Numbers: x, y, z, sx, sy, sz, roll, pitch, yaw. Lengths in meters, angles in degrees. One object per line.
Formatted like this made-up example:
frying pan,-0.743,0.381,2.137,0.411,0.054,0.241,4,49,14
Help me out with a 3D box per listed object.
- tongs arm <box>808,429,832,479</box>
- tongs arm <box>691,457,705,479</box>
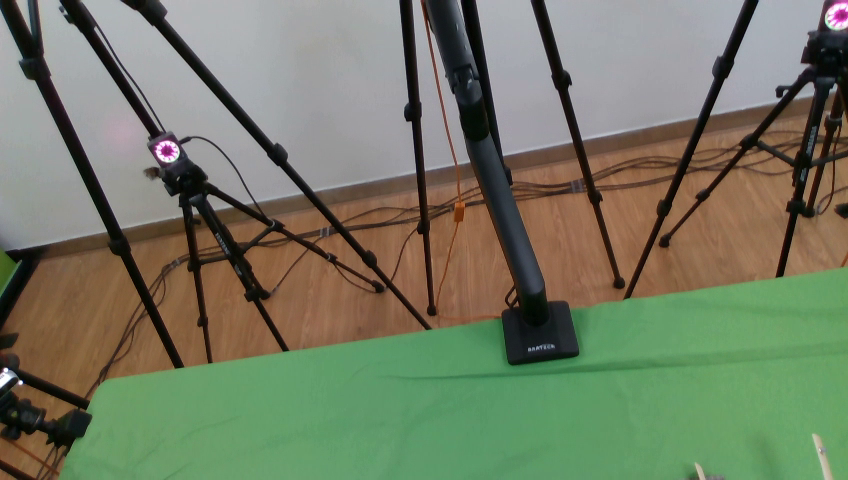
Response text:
tongs arm,0.454,0.397,0.653,0.050,0.027,0.381,-23,44,32
tongs arm,0.392,0.431,0.693,0.028,0.028,0.383,-30,40,20
